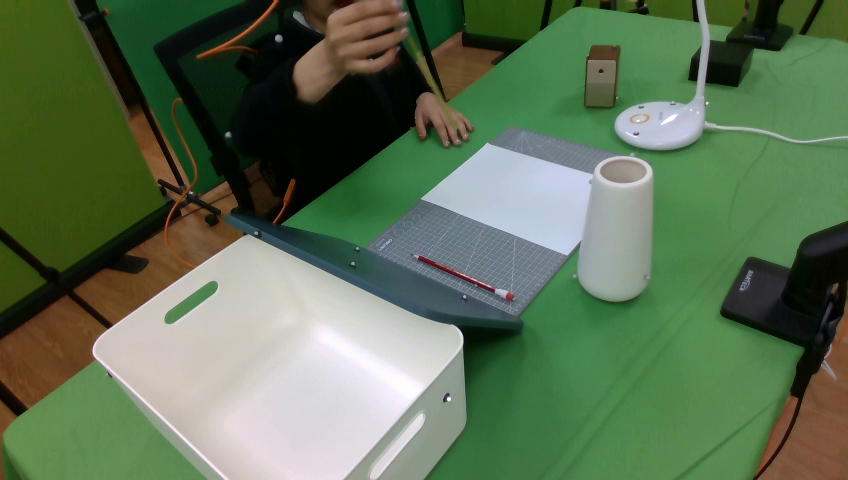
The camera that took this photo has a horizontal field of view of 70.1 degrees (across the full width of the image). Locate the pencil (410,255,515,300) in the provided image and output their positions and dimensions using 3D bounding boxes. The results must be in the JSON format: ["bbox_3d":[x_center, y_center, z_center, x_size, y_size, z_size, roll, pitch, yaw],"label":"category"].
[{"bbox_3d":[0.054,0.054,0.918,0.192,0.012,0.012,21,48,33],"label":"pencil"}]

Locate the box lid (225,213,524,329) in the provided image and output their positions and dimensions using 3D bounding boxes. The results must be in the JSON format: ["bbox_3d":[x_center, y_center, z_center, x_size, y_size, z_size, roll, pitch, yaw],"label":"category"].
[{"bbox_3d":[-0.066,0.042,0.816,0.368,0.265,0.015,22,93,32],"label":"box lid"}]

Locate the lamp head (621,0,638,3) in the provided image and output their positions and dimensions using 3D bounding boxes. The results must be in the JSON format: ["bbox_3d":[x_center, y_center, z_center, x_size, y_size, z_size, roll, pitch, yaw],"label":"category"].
[{"bbox_3d":[0.319,-0.453,0.962,0.113,0.123,0.112,20,33,-13],"label":"lamp head"}]

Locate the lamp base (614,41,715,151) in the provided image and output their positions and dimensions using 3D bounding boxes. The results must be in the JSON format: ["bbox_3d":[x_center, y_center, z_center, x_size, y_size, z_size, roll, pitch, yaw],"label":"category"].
[{"bbox_3d":[0.449,-0.277,1.106,0.179,0.181,0.160,1,41,9],"label":"lamp base"}]

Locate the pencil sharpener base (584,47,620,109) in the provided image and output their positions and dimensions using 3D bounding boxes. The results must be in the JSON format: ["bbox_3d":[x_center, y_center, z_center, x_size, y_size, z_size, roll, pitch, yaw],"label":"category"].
[{"bbox_3d":[0.367,-0.336,1.248,0.061,0.107,0.076,6,42,19],"label":"pencil sharpener base"}]

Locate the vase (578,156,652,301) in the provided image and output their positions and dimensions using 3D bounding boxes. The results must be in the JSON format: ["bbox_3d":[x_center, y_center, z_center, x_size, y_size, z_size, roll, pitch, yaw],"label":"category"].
[{"bbox_3d":[0.261,-0.011,0.812,0.098,0.201,0.097,-4,40,4],"label":"vase"}]

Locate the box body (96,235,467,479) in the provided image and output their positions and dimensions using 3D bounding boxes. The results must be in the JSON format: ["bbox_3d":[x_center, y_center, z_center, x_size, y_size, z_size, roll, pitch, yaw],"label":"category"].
[{"bbox_3d":[-0.155,0.169,0.707,0.361,0.161,0.255,23,49,33],"label":"box body"}]

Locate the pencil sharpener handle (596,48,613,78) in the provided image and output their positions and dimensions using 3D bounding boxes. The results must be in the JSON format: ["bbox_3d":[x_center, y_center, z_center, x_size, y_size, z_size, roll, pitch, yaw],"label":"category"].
[{"bbox_3d":[0.383,-0.378,1.276,0.036,0.068,0.030,2,41,22],"label":"pencil sharpener handle"}]

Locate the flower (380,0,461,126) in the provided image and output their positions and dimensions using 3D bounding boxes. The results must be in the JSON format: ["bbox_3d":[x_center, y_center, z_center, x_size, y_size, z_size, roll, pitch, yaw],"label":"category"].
[{"bbox_3d":[-0.030,-0.271,0.784,0.038,0.365,0.044,23,73,42],"label":"flower"}]
